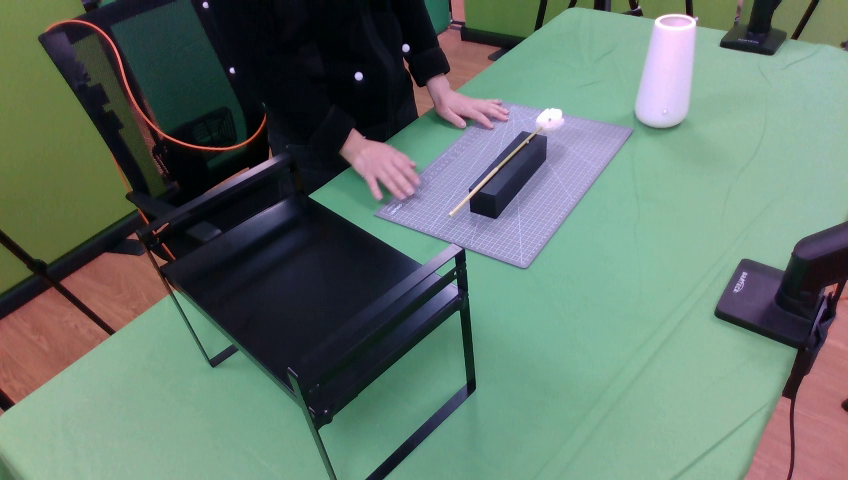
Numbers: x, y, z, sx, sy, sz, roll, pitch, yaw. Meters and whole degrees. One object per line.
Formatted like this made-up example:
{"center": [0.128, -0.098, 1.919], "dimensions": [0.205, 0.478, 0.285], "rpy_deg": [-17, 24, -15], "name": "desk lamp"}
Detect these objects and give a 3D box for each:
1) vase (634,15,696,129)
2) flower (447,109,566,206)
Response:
{"center": [0.455, -0.310, 1.133], "dimensions": [0.098, 0.201, 0.097], "rpy_deg": [-4, 42, 4], "name": "vase"}
{"center": [0.147, -0.146, 1.047], "dimensions": [0.044, 0.038, 0.363], "rpy_deg": [46, 52, 5], "name": "flower"}
